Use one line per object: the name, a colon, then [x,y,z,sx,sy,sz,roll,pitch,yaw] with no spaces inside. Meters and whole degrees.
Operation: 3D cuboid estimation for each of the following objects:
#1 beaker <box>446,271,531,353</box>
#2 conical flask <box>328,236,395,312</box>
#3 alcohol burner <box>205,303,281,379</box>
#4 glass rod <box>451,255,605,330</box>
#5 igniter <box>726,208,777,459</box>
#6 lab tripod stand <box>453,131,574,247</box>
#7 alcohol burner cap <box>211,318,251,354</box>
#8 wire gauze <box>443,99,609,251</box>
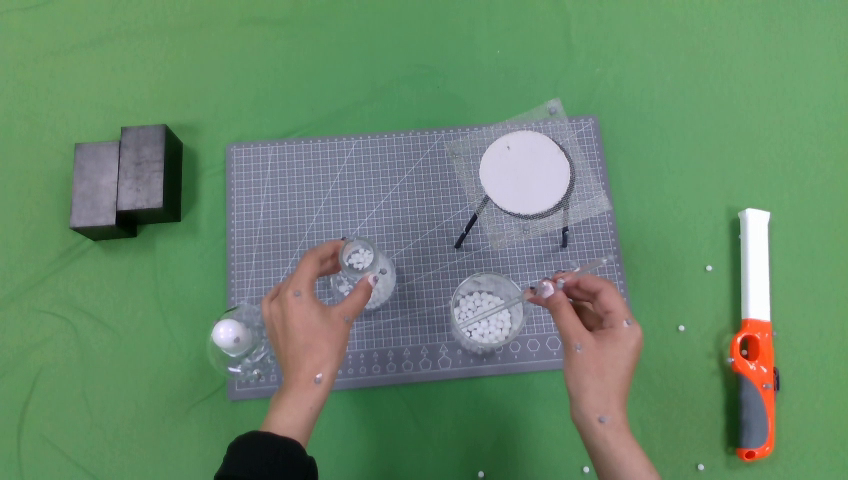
beaker: [0.062,0.078,0.629,0.084,0.100,0.073,-7,75,-3]
conical flask: [-0.067,0.029,0.627,0.075,0.122,0.075,1,75,-3]
alcohol burner: [-0.187,0.100,0.613,0.078,0.119,0.077,1,76,-2]
glass rod: [0.087,0.052,0.558,0.008,0.199,0.008,19,57,-31]
igniter: [0.360,0.098,0.667,0.057,0.025,0.275,10,75,-8]
lab tripod stand: [0.097,-0.044,0.644,0.148,0.132,0.147,0,77,0]
alcohol burner cap: [-0.186,0.090,0.578,0.034,0.048,0.033,2,72,-5]
wire gauze: [0.096,-0.063,0.579,0.125,0.011,0.121,-21,78,-5]
